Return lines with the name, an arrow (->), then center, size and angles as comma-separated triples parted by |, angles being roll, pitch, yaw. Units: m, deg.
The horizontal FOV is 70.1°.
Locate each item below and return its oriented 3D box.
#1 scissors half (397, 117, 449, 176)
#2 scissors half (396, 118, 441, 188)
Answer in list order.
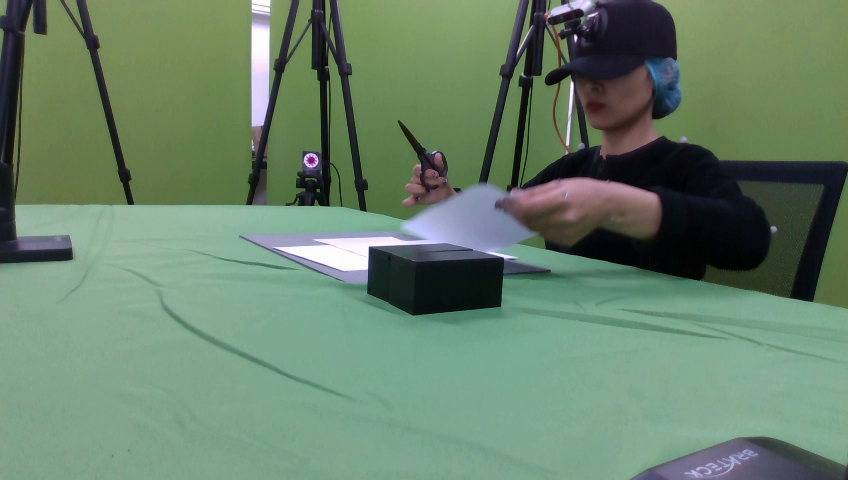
scissors half -> 0.000, -0.172, 1.109 | 0.013, 0.040, 0.176 | 17, -13, 41
scissors half -> -0.012, -0.157, 1.104 | 0.012, 0.176, 0.040 | 24, 64, 43
